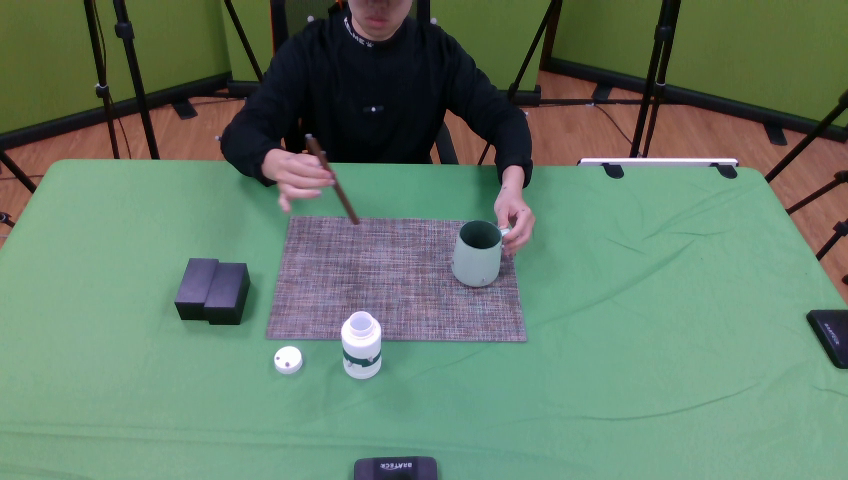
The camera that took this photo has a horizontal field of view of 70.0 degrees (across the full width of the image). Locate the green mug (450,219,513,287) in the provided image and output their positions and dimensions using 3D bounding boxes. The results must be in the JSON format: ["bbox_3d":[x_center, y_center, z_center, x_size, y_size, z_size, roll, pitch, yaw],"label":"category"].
[{"bbox_3d":[0.111,0.019,1.125,0.125,0.105,0.092,-22,52,-23],"label":"green mug"}]

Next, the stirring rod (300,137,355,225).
[{"bbox_3d":[-0.157,-0.094,1.001,0.014,0.177,0.006,-9,37,25],"label":"stirring rod"}]

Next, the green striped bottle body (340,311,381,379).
[{"bbox_3d":[-0.101,0.164,0.964,0.063,0.120,0.063,2,46,-2],"label":"green striped bottle body"}]

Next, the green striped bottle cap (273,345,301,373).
[{"bbox_3d":[-0.225,0.195,0.997,0.044,0.020,0.044,2,50,-3],"label":"green striped bottle cap"}]
